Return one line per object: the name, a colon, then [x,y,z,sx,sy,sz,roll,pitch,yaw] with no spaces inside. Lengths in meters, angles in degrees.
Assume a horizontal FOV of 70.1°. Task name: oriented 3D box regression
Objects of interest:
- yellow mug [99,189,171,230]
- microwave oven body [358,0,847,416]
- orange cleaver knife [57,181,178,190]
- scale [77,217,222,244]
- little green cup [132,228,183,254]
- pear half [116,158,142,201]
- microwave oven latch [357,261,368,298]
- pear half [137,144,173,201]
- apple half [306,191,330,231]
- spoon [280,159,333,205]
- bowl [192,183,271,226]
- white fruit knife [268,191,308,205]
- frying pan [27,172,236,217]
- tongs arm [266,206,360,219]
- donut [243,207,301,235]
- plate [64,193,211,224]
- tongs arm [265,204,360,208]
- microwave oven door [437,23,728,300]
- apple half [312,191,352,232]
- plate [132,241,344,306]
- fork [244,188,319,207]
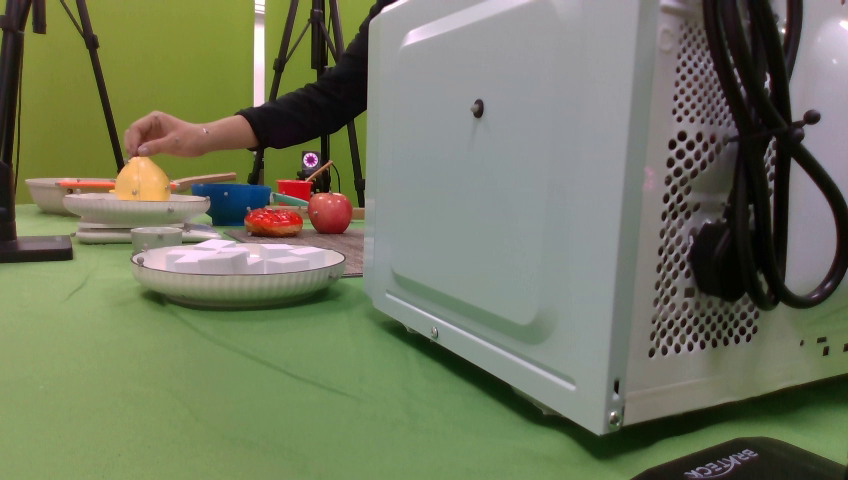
yellow mug: [-0.519,-0.055,1.080,0.099,0.064,0.131,7,9,26]
microwave oven body: [0.211,-0.047,0.474,0.444,0.260,0.324,-1,7,-28]
orange cleaver knife: [-0.600,-0.109,1.189,0.212,0.012,0.077,-1,11,-26]
scale: [-0.434,-0.018,0.963,0.202,0.031,0.148,-1,8,-27]
little green cup: [-0.342,0.006,0.779,0.061,0.038,0.061,2,8,0]
pear half: [-0.455,-0.082,0.929,0.031,0.088,0.070,-8,14,-42]
microwave oven latch: [-0.019,0.033,0.530,0.079,0.029,0.030,-1,7,-26]
pear half: [-0.427,-0.095,0.949,0.056,0.110,0.076,-9,16,-39]
apple half: [-0.197,-0.055,1.114,0.032,0.081,0.081,9,10,21]
spoon: [-0.317,-0.159,1.640,0.194,0.022,0.041,-49,32,-20]
bowl: [-0.382,-0.070,1.202,0.151,0.077,0.151,3,7,0]
white fruit knife: [-0.364,-0.105,1.464,0.208,0.027,0.016,15,0,-34]
frying pan: [-0.624,-0.118,1.387,0.305,0.102,0.490,8,17,32]
tongs arm: [-0.174,-0.061,1.363,0.387,0.026,0.050,-1,3,-31]
donut: [-0.262,-0.032,1.043,0.099,0.048,0.099,4,9,0]
plate: [-0.446,-0.051,0.951,0.209,0.038,0.209,2,7,0]
tongs arm: [-0.210,-0.068,1.440,0.389,0.027,0.028,1,-1,-17]
microwave oven door: [0.180,-0.073,0.621,0.358,0.243,0.039,-2,9,-29]
apple half: [-0.160,-0.050,1.101,0.053,0.074,0.081,9,7,23]
plate: [-0.187,0.033,0.625,0.208,0.039,0.207,2,7,0]
fork: [-0.356,-0.105,1.526,0.208,0.018,0.028,16,-5,-41]
